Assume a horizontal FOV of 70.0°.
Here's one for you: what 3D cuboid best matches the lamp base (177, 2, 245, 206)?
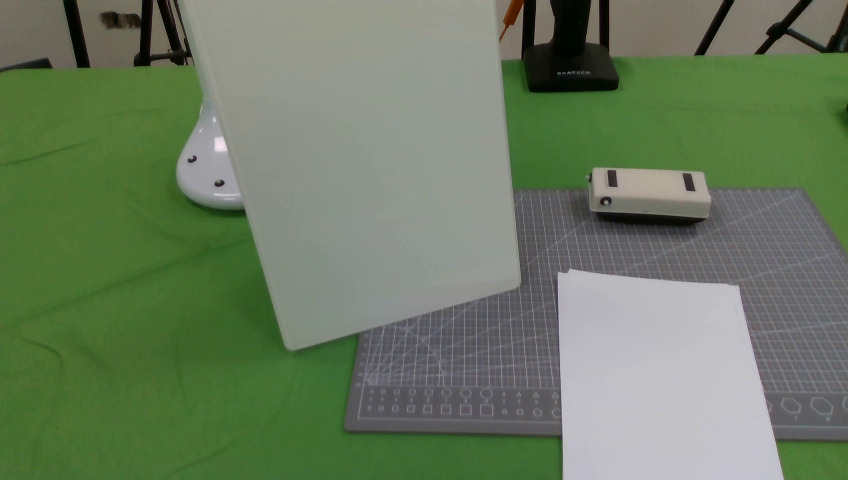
[{"bbox_3d":[-0.215,-0.154,0.657,0.177,0.182,0.160,31,52,34],"label":"lamp base"}]

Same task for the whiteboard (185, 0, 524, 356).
[{"bbox_3d":[-0.051,-0.091,0.528,0.217,0.307,0.142,-14,24,-11],"label":"whiteboard"}]

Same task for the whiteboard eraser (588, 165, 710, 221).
[{"bbox_3d":[0.225,-0.047,0.613,0.112,0.042,0.055,4,44,8],"label":"whiteboard eraser"}]
